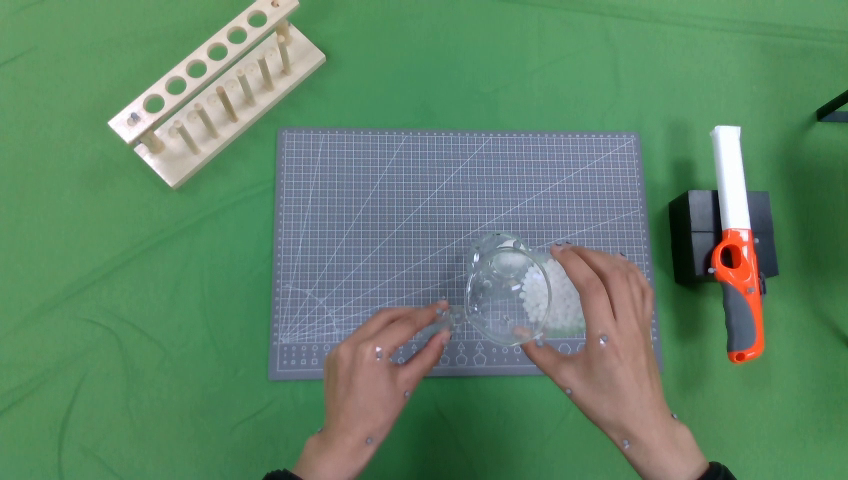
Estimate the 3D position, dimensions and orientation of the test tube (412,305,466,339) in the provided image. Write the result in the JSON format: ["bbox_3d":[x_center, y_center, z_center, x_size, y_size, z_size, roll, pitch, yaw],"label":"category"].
[{"bbox_3d":[0.010,0.076,0.551,0.017,0.150,0.017,3,75,-12],"label":"test tube"}]

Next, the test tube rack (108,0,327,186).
[{"bbox_3d":[-0.226,-0.177,0.693,0.066,0.085,0.242,44,78,6],"label":"test tube rack"}]

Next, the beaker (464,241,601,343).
[{"bbox_3d":[0.090,0.044,0.486,0.084,0.101,0.073,-31,68,34],"label":"beaker"}]

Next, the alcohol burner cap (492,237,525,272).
[{"bbox_3d":[0.090,0.014,0.625,0.034,0.048,0.033,0,79,0],"label":"alcohol burner cap"}]

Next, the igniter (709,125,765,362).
[{"bbox_3d":[0.351,-0.001,0.687,0.057,0.025,0.275,3,75,-2],"label":"igniter"}]

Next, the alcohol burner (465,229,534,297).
[{"bbox_3d":[0.086,0.021,0.660,0.078,0.119,0.077,2,75,-6],"label":"alcohol burner"}]
